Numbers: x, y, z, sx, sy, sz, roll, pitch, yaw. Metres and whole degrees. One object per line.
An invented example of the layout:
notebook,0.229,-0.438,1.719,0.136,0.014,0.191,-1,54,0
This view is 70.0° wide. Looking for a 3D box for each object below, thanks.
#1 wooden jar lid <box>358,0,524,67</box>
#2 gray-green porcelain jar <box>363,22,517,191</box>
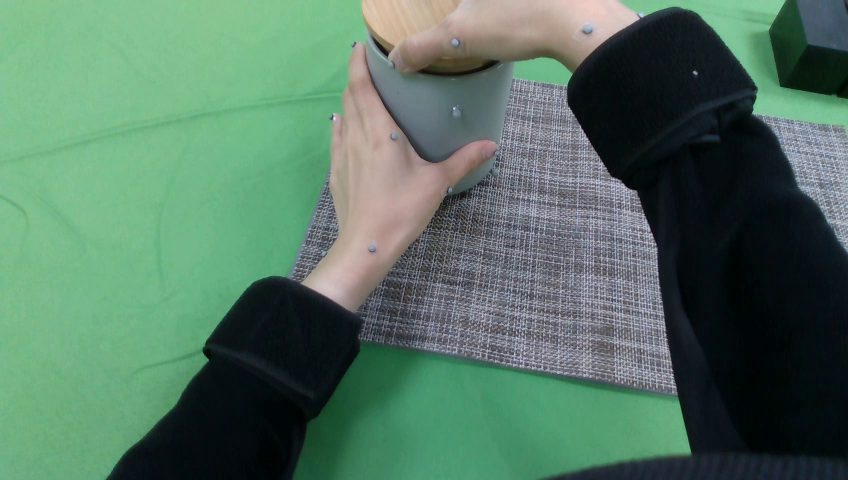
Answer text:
wooden jar lid,0.011,-0.153,0.400,0.108,0.021,0.107,1,58,0
gray-green porcelain jar,0.008,-0.108,0.457,0.106,0.127,0.105,2,54,-2
